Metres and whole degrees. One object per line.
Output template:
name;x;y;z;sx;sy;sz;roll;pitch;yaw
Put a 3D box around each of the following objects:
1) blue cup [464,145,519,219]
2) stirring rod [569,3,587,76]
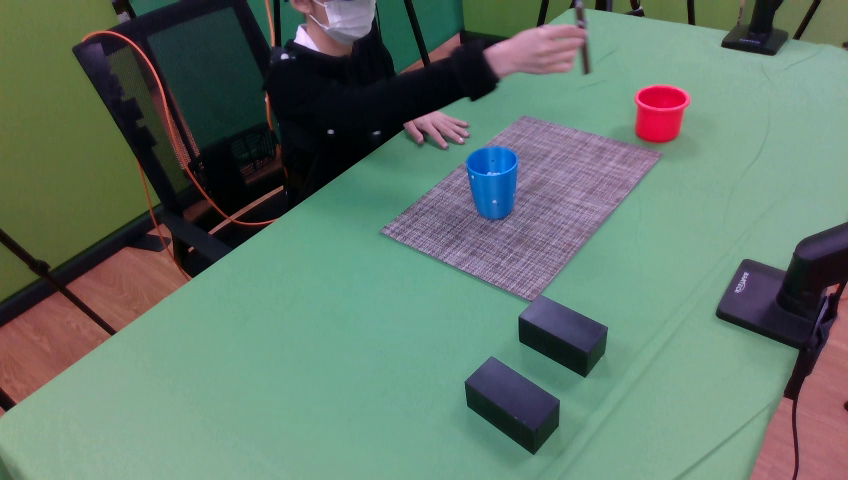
blue cup;0.115;-0.090;0.997;0.092;0.101;0.092;-5;41;5
stirring rod;0.249;-0.317;0.971;0.014;0.177;0.006;-30;63;7
